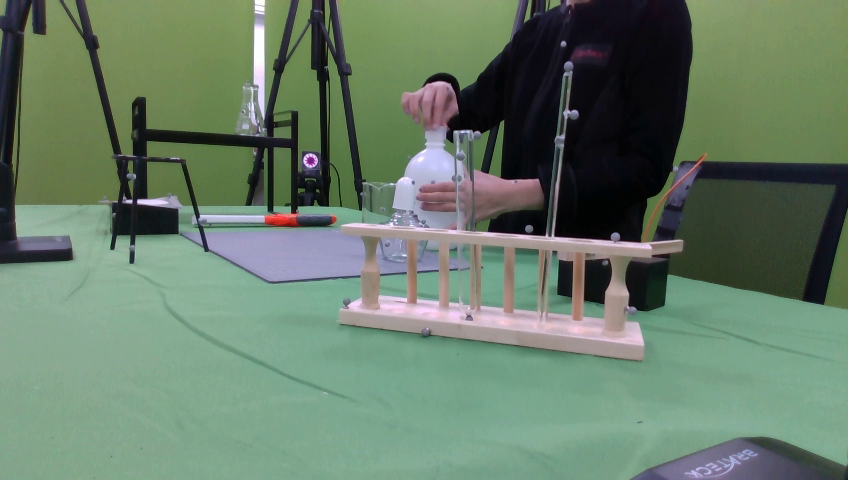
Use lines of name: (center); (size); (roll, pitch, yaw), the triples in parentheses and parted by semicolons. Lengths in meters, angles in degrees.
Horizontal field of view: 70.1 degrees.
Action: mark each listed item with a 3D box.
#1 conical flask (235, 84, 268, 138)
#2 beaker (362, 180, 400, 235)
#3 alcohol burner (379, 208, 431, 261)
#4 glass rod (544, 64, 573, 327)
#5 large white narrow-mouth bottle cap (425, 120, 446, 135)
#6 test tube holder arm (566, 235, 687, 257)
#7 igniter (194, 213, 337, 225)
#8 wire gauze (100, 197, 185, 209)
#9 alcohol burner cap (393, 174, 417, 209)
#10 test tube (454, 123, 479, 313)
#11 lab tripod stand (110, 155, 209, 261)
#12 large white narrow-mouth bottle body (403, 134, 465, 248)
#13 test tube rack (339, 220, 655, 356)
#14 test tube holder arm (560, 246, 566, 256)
conical flask: (-0.402, -0.299, 1.406); (0.075, 0.122, 0.075); (2, 7, 0)
beaker: (-0.081, -0.062, 1.142); (0.074, 0.100, 0.084); (2, 8, 1)
alcohol burner: (-0.027, -0.031, 0.838); (0.078, 0.119, 0.078); (0, 6, 0)
glass rod: (0.101, -0.028, 0.453); (0.008, 0.199, 0.008); (1, 14, 0)
large white narrow-mouth bottle cap: (0.019, -0.183, 0.988); (0.038, 0.024, 0.037); (2, 7, 0)
test tube holder arm: (0.215, 0.006, 0.630); (0.179, 0.015, 0.013); (-3, 9, -30)
igniter: (-0.306, -0.042, 1.196); (0.278, 0.025, 0.057); (-2, -2, -31)
wire gauze: (-0.469, -0.062, 1.008); (0.126, 0.011, 0.121); (-2, 8, -25)
alcohol burner cap: (-0.025, -0.067, 0.834); (0.034, 0.048, 0.034); (8, 7, -1)
test tube: (0.034, -0.016, 0.476); (0.017, 0.150, 0.017); (-2, 9, 1)
lab tripod stand: (-0.361, -0.046, 0.806); (0.148, 0.131, 0.148); (2, 5, 0)
large white narrow-mouth bottle body: (0.018, -0.088, 1.001); (0.102, 0.194, 0.102); (2, 8, 0)
test tube rack: (0.056, 0.032, 0.495); (0.242, 0.085, 0.067); (4, 7, 15)
test tube holder arm: (0.173, 0.007, 0.612); (0.088, 0.015, 0.010); (-3, 9, -29)
